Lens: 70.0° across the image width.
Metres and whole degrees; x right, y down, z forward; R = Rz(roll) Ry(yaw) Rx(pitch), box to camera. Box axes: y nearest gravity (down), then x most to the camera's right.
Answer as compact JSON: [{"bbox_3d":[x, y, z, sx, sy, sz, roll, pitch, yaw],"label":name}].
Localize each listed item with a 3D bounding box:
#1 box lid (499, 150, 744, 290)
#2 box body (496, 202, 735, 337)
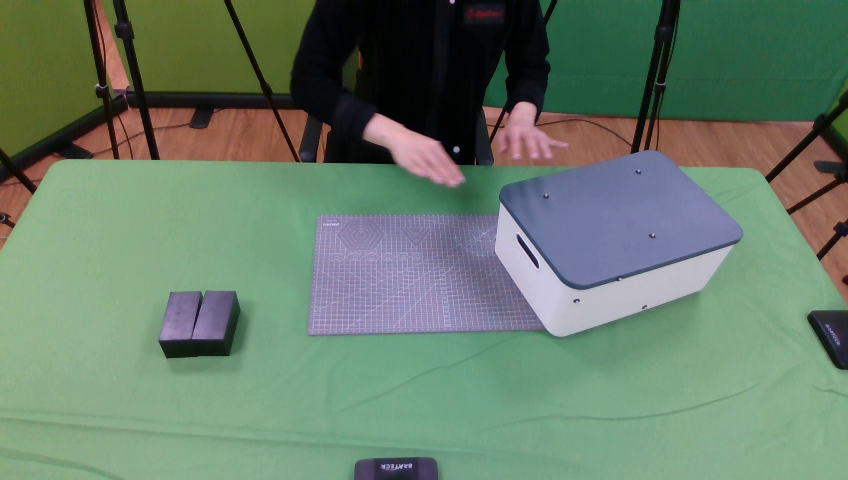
[{"bbox_3d":[0.341,-0.049,1.064,0.372,0.015,0.261,-15,48,-18],"label":"box lid"},{"bbox_3d":[0.340,0.004,1.118,0.364,0.161,0.252,-15,49,-18],"label":"box body"}]
